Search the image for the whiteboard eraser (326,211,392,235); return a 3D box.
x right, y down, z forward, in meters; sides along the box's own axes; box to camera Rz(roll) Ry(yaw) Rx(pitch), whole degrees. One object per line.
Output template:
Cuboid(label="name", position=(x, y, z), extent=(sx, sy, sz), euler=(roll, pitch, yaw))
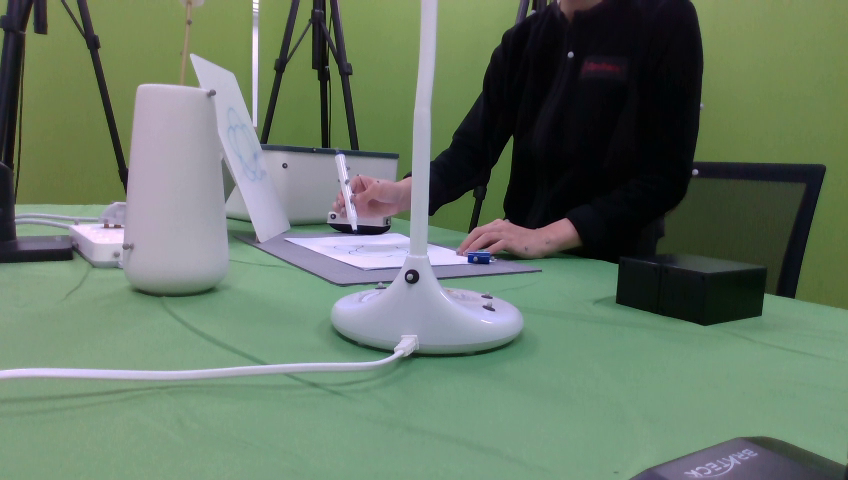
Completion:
Cuboid(label="whiteboard eraser", position=(-0.121, -0.033, 1.131), extent=(0.112, 0.042, 0.056), euler=(5, 8, 13))

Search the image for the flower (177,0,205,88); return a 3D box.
Cuboid(label="flower", position=(-0.243, -0.131, 0.609), extent=(0.044, 0.361, 0.038), euler=(-5, -12, 12))

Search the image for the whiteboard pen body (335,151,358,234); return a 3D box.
Cuboid(label="whiteboard pen body", position=(-0.118, -0.073, 0.926), extent=(0.017, 0.140, 0.017), euler=(-13, -18, -4))

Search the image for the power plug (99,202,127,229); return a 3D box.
Cuboid(label="power plug", position=(-0.415, -0.026, 0.848), extent=(0.073, 0.052, 0.035), euler=(6, 5, -28))

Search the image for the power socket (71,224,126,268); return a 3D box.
Cuboid(label="power socket", position=(-0.409, 0.004, 0.793), extent=(0.072, 0.032, 0.225), euler=(-2, 8, -37))

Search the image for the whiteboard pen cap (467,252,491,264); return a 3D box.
Cuboid(label="whiteboard pen cap", position=(0.077, 0.025, 0.841), extent=(0.033, 0.018, 0.018), euler=(1, 7, 4))

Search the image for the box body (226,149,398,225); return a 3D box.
Cuboid(label="box body", position=(-0.265, -0.129, 1.380), extent=(0.253, 0.160, 0.366), euler=(8, 9, 39))

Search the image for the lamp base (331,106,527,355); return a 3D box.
Cuboid(label="lamp base", position=(0.006, -0.012, 0.478), extent=(0.161, 0.180, 0.179), euler=(2, 10, 2))

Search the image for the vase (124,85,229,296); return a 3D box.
Cuboid(label="vase", position=(-0.244, -0.047, 0.598), extent=(0.098, 0.200, 0.098), euler=(3, 8, 0))

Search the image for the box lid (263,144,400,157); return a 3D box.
Cuboid(label="box lid", position=(-0.263, -0.203, 1.369), extent=(0.262, 0.015, 0.373), euler=(9, 10, 39))

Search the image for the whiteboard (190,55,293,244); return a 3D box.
Cuboid(label="whiteboard", position=(-0.362, -0.129, 1.029), extent=(0.144, 0.305, 0.217), euler=(-18, 7, 3))
